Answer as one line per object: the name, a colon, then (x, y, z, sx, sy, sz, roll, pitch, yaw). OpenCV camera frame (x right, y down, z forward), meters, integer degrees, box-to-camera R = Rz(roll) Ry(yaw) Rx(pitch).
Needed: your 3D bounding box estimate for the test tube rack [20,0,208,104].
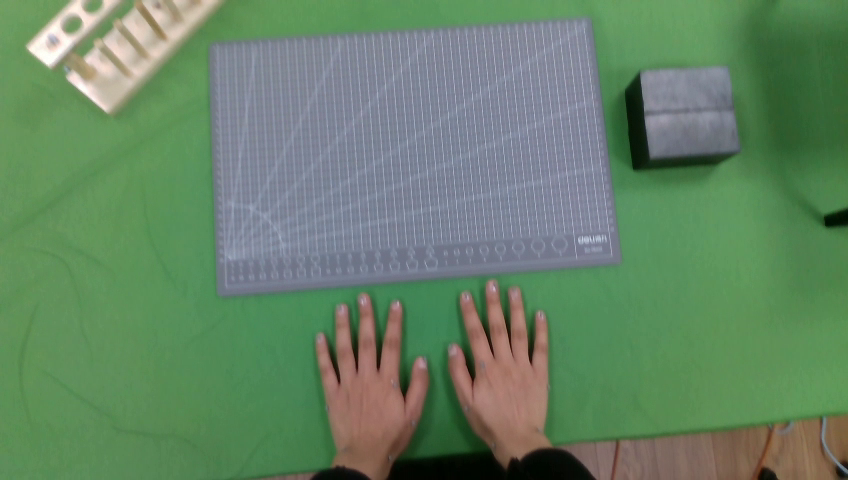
test tube rack: (-0.306, -0.271, 0.662, 0.066, 0.085, 0.242, 40, 83, 4)
